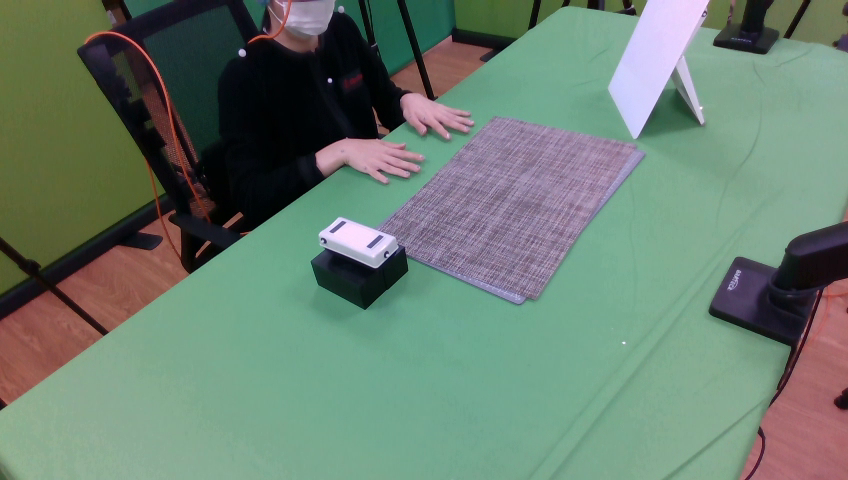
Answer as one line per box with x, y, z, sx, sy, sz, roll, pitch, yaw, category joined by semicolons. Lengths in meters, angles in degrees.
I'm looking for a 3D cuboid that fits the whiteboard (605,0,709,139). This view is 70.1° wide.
0.496;-0.358;1.146;0.144;0.305;0.216;10;40;-8;whiteboard

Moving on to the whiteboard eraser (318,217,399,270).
-0.097;0.006;0.887;0.112;0.042;0.056;20;49;29;whiteboard eraser
